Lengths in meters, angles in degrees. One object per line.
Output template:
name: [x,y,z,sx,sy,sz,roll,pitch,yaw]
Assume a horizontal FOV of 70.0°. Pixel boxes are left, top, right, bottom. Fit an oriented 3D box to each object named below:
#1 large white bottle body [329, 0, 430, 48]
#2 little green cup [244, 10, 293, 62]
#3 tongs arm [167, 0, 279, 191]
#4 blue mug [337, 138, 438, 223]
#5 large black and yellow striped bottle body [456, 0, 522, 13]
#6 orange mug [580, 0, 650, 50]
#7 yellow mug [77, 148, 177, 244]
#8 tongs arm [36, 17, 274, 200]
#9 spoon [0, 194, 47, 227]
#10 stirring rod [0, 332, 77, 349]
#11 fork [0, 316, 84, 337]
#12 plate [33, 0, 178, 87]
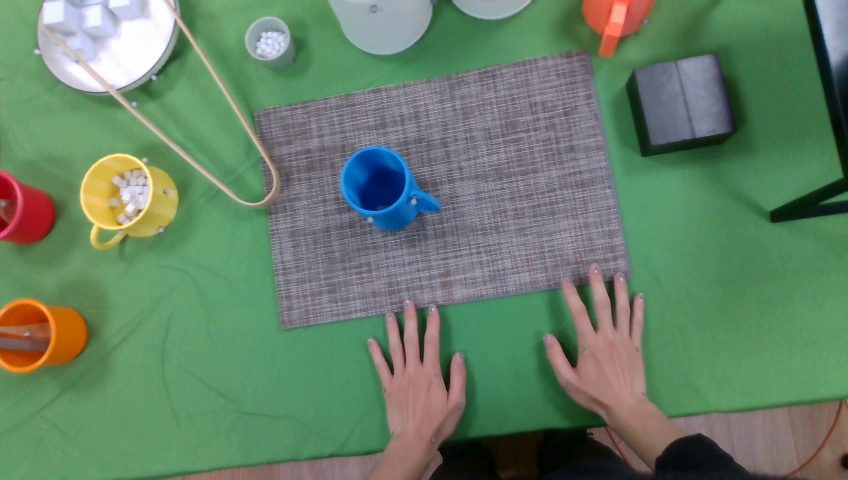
large white bottle body: [-0.065,-0.334,0.739,0.130,0.185,0.130,-1,82,6]
little green cup: [-0.208,-0.273,0.821,0.061,0.039,0.061,-1,84,6]
tongs arm: [-0.295,-0.235,0.809,0.028,0.028,0.387,-33,88,-7]
blue mug: [-0.038,-0.065,0.741,0.116,0.106,0.082,16,85,8]
large black and yellow striped bottle body: [0.080,-0.377,0.730,0.130,0.184,0.130,-1,82,6]
orange mug: [0.239,-0.306,0.748,0.083,0.101,0.126,14,80,8]
yellow mug: [-0.399,-0.052,0.800,0.099,0.064,0.131,30,88,8]
tongs arm: [-0.358,-0.179,0.805,0.384,0.026,0.051,43,86,2]
spoon: [-0.595,-0.069,0.783,0.195,0.021,0.041,29,84,-35]
stirring rod: [-0.531,0.121,0.753,0.006,0.177,0.014,-26,59,46]
fork: [-0.542,0.104,0.753,0.209,0.018,0.028,10,80,-37]
plate: [-0.440,-0.311,0.849,0.207,0.039,0.207,-1,84,6]
